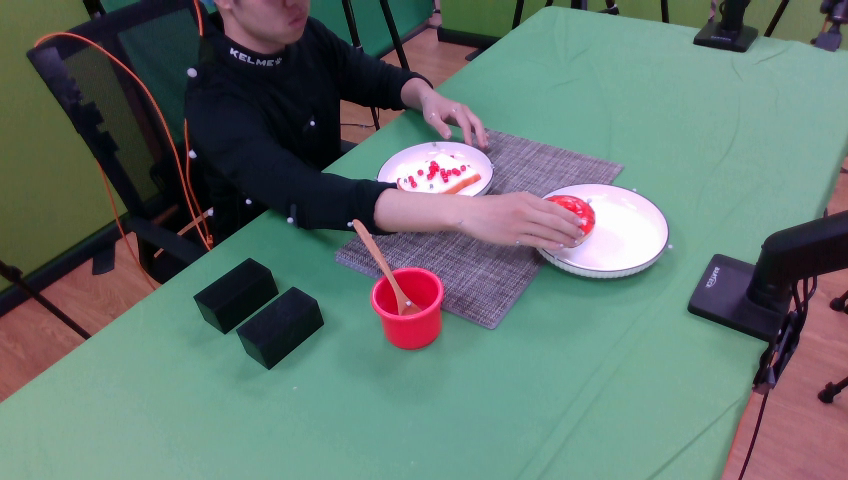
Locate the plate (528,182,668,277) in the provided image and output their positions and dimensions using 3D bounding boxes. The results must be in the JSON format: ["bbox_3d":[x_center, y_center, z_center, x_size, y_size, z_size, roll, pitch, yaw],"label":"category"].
[{"bbox_3d":[0.264,-0.014,0.933,0.207,0.039,0.206,-3,42,3],"label":"plate"}]

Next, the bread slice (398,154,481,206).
[{"bbox_3d":[0.021,-0.107,1.077,0.132,0.019,0.104,-32,46,-28],"label":"bread slice"}]

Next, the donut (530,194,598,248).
[{"bbox_3d":[0.203,-0.030,0.882,0.099,0.048,0.098,-4,43,4],"label":"donut"}]

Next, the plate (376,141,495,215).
[{"bbox_3d":[0.022,-0.106,1.073,0.209,0.038,0.208,-4,40,4],"label":"plate"}]

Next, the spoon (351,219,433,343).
[{"bbox_3d":[-0.045,0.054,0.820,0.042,0.021,0.193,-28,89,-21],"label":"spoon"}]
